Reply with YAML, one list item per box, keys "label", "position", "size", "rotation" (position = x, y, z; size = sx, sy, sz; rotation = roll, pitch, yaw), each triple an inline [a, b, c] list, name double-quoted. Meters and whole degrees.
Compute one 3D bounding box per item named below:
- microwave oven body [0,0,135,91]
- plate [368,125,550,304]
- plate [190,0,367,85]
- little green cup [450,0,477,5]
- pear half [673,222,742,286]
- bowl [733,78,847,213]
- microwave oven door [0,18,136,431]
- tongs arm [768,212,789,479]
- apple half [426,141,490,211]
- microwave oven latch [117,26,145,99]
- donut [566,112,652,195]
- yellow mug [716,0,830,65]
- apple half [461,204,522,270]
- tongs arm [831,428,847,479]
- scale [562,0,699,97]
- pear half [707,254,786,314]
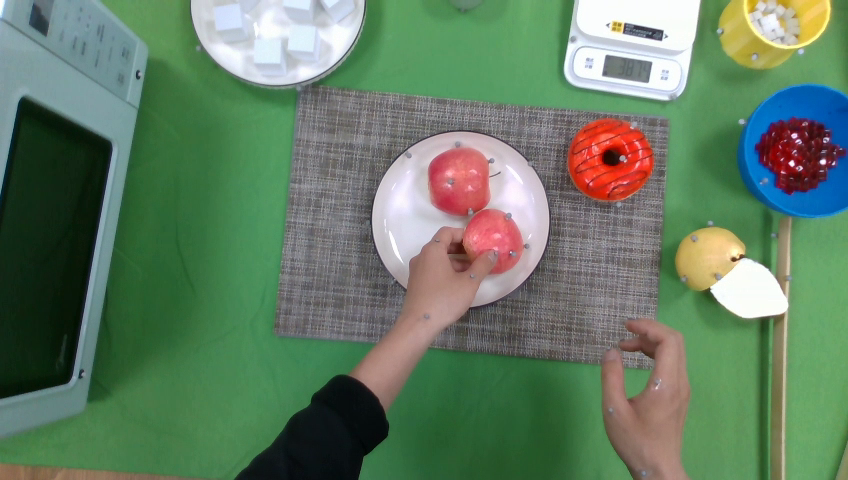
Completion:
- label: "microwave oven body"
  position: [-0.518, -0.060, 0.594]
  size: [0.326, 0.260, 0.441]
  rotation: [8, 86, 0]
- label: "plate"
  position: [0.041, -0.029, 0.707]
  size: [0.209, 0.038, 0.208]
  rotation: [0, 85, 0]
- label: "plate"
  position: [-0.170, -0.284, 0.728]
  size: [0.208, 0.039, 0.207]
  rotation: [0, 86, 0]
- label: "little green cup"
  position: [0.048, -0.317, 0.732]
  size: [0.061, 0.038, 0.061]
  rotation: [0, 85, 0]
- label: "pear half"
  position: [0.315, 0.010, 0.674]
  size: [0.056, 0.110, 0.076]
  rotation: [37, 82, 4]
- label: "bowl"
  position: [0.421, -0.101, 0.699]
  size: [0.151, 0.077, 0.151]
  rotation: [0, 87, 0]
- label: "microwave oven door"
  position: [-0.379, 0.001, 0.586]
  size: [0.039, 0.244, 0.355]
  rotation: [8, 86, 1]
- label: "tongs arm"
  position: [0.425, 0.160, 0.702]
  size: [0.051, 0.026, 0.384]
  rotation: [5, 87, -6]
- label: "apple half"
  position: [0.038, -0.075, 0.693]
  size: [0.074, 0.053, 0.080]
  rotation: [-1, 89, 2]
- label: "microwave oven latch"
  position: [-0.346, -0.206, 0.702]
  size: [0.030, 0.029, 0.079]
  rotation: [9, 86, 0]
- label: "donut"
  position: [0.215, -0.101, 0.710]
  size: [0.099, 0.048, 0.099]
  rotation: [0, 86, 3]
- label: "yellow mug"
  position: [0.403, -0.281, 0.717]
  size: [0.100, 0.064, 0.130]
  rotation: [-27, 86, -2]
- label: "apple half"
  position: [0.082, -0.003, 0.682]
  size: [0.082, 0.032, 0.081]
  rotation: [6, 79, -32]
- label: "tongs arm"
  position: [0.510, 0.176, 0.708]
  size: [0.028, 0.027, 0.387]
  rotation: [20, 86, -8]
- label: "scale"
  position: [0.254, -0.282, 0.733]
  size: [0.148, 0.031, 0.200]
  rotation: [10, 86, 1]
- label: "pear half"
  position: [0.373, 0.055, 0.708]
  size: [0.087, 0.031, 0.070]
  rotation: [32, 82, 15]
